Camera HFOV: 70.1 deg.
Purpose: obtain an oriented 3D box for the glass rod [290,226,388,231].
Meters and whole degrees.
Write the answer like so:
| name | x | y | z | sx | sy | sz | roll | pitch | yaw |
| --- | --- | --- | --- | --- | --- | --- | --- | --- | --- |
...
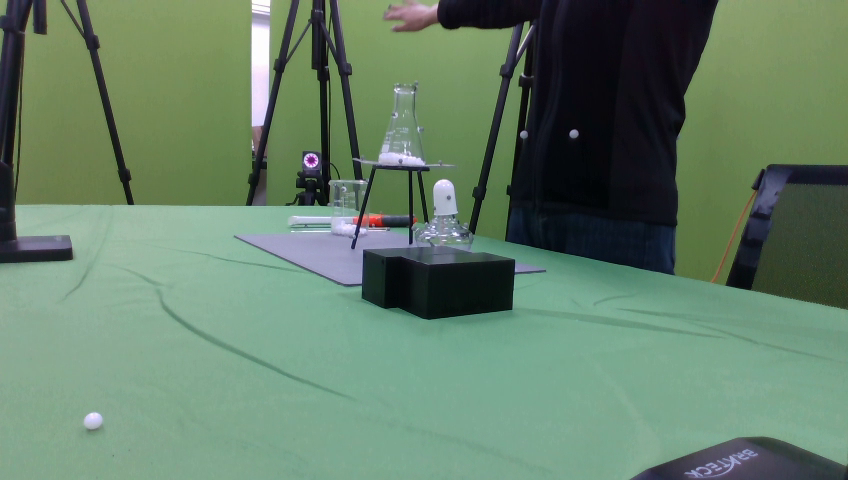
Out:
| name | x | y | z | sx | sy | sz | roll | pitch | yaw |
| --- | --- | --- | --- | --- | --- | --- | --- | --- | --- |
| glass rod | -0.161 | -0.023 | 1.177 | 0.201 | 0.008 | 0.008 | -1 | 8 | -28 |

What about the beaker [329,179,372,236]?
| name | x | y | z | sx | sy | sz | roll | pitch | yaw |
| --- | --- | --- | --- | --- | --- | --- | --- | --- | --- |
| beaker | -0.137 | -0.061 | 1.101 | 0.084 | 0.100 | 0.074 | 5 | 7 | 20 |

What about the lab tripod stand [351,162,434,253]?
| name | x | y | z | sx | sy | sz | roll | pitch | yaw |
| --- | --- | --- | --- | --- | --- | --- | --- | --- | --- |
| lab tripod stand | -0.034 | -0.052 | 0.933 | 0.148 | 0.131 | 0.148 | 4 | 7 | 0 |

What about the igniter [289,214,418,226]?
| name | x | y | z | sx | sy | sz | roll | pitch | yaw |
| --- | --- | --- | --- | --- | --- | --- | --- | --- | --- |
| igniter | -0.141 | -0.042 | 1.258 | 0.278 | 0.025 | 0.057 | -1 | -2 | -30 |

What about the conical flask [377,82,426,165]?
| name | x | y | z | sx | sy | sz | roll | pitch | yaw |
| --- | --- | --- | --- | --- | --- | --- | --- | --- | --- |
| conical flask | -0.032 | -0.175 | 0.918 | 0.075 | 0.122 | 0.075 | 3 | 8 | 0 |

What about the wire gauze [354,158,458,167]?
| name | x | y | z | sx | sy | sz | roll | pitch | yaw |
| --- | --- | --- | --- | --- | --- | --- | --- | --- | --- |
| wire gauze | -0.029 | -0.117 | 0.927 | 0.122 | 0.011 | 0.124 | 0 | 5 | -36 |

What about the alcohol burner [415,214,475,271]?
| name | x | y | z | sx | sy | sz | roll | pitch | yaw |
| --- | --- | --- | --- | --- | --- | --- | --- | --- | --- |
| alcohol burner | 0.027 | -0.020 | 0.783 | 0.078 | 0.119 | 0.078 | 0 | 8 | 0 |

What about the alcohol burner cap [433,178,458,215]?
| name | x | y | z | sx | sy | sz | roll | pitch | yaw |
| --- | --- | --- | --- | --- | --- | --- | --- | --- | --- |
| alcohol burner cap | 0.026 | -0.056 | 0.777 | 0.034 | 0.048 | 0.034 | -6 | 9 | 1 |
